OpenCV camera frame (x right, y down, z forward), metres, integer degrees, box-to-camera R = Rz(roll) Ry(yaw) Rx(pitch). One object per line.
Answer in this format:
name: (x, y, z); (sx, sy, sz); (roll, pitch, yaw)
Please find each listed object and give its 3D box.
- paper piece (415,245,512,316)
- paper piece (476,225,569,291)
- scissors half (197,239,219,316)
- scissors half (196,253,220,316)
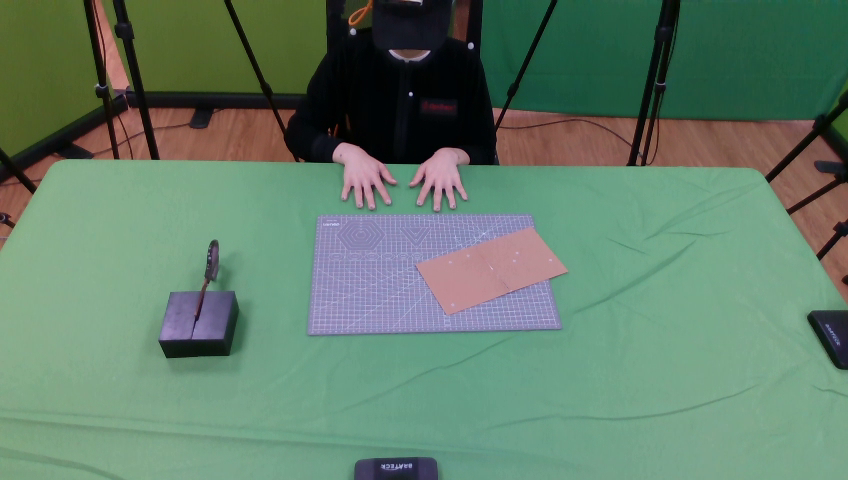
paper piece: (0.072, 0.071, 1.140); (0.138, 0.009, 0.135); (-18, 46, -18)
paper piece: (0.192, 0.033, 1.185); (0.136, 0.004, 0.134); (-17, 50, -19)
scissors half: (-0.375, 0.063, 1.049); (0.013, 0.040, 0.174); (7, 46, -12)
scissors half: (-0.379, 0.078, 1.062); (0.013, 0.040, 0.174); (3, 29, -8)
